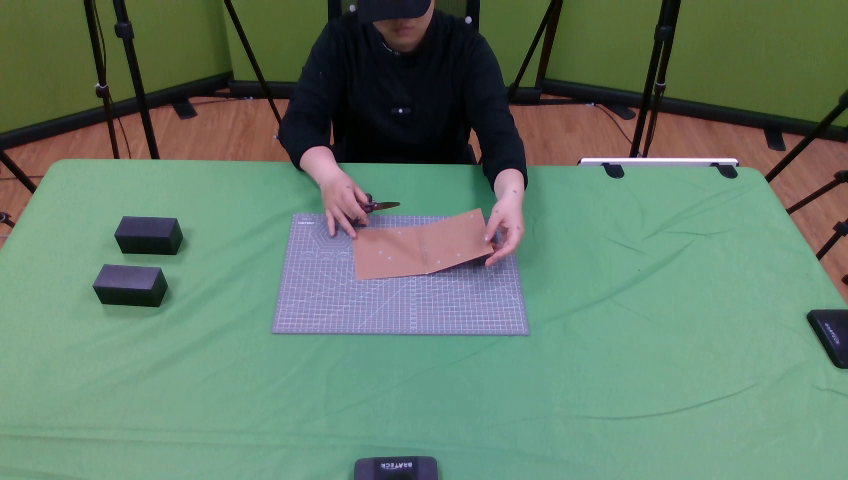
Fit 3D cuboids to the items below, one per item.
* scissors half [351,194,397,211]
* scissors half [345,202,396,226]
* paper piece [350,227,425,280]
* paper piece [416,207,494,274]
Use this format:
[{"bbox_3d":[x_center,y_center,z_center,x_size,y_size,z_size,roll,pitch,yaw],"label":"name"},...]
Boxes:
[{"bbox_3d":[-0.096,-0.072,1.179,0.174,0.013,0.040,7,66,58],"label":"scissors half"},{"bbox_3d":[-0.105,-0.055,1.172,0.013,0.175,0.040,40,58,-26],"label":"scissors half"},{"bbox_3d":[-0.073,0.022,1.176,0.135,0.004,0.135,-3,46,-8],"label":"paper piece"},{"bbox_3d":[0.057,-0.001,1.179,0.138,0.009,0.135,-18,45,7],"label":"paper piece"}]
